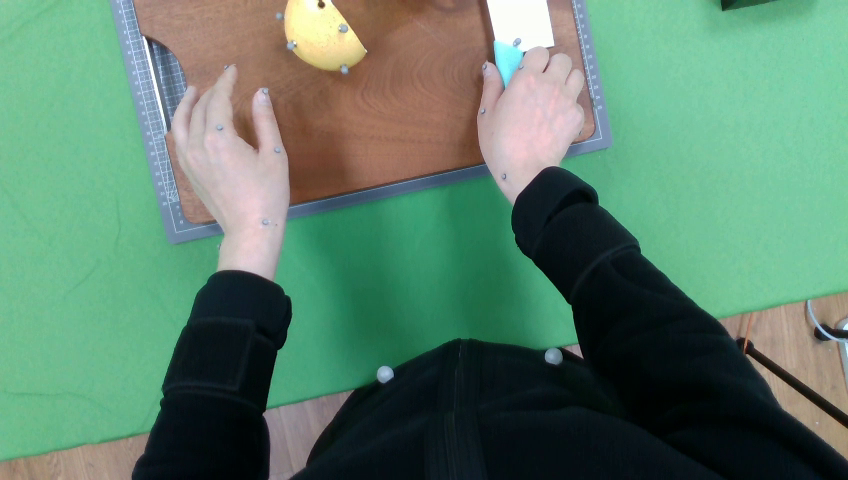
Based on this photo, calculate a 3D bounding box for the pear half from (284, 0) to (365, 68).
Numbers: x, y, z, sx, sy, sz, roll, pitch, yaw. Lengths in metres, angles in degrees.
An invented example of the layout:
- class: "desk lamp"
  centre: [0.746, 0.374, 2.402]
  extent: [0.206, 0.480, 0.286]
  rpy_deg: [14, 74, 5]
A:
- class: "pear half"
  centre: [-0.092, -0.182, 0.513]
  extent: [0.056, 0.110, 0.076]
  rpy_deg: [-42, 88, 1]

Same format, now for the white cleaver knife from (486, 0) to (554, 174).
- class: "white cleaver knife"
  centre: [0.088, -0.202, 0.558]
  extent: [0.066, 0.021, 0.286]
  rpy_deg: [-13, 94, -8]
